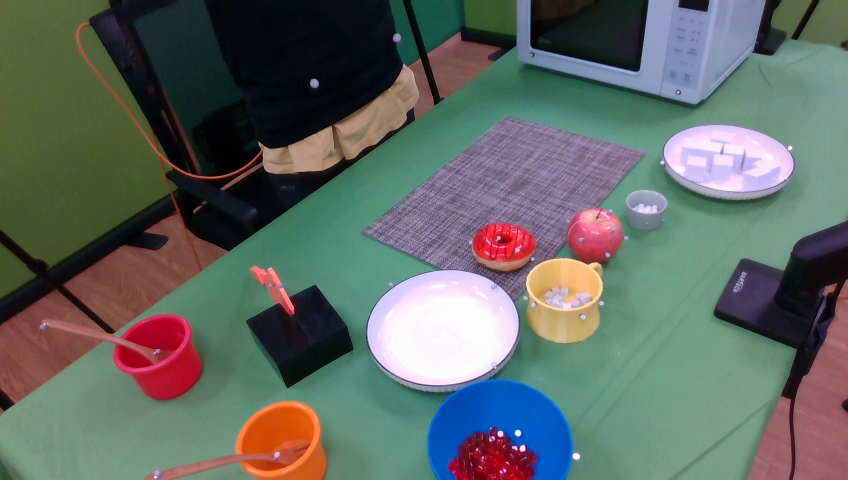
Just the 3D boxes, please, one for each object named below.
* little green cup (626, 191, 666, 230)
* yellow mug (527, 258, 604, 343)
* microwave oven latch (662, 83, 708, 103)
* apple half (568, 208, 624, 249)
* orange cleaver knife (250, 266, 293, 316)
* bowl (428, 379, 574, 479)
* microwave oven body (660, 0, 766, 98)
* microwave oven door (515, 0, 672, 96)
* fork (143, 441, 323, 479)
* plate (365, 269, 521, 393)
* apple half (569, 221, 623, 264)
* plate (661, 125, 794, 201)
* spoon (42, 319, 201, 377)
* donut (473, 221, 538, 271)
[{"bbox_3d":[0.352,-0.046,0.963,0.061,0.039,0.061,-4,40,4],"label":"little green cup"},{"bbox_3d":[0.201,0.073,0.825,0.131,0.064,0.099,-32,46,-27],"label":"yellow mug"},{"bbox_3d":[0.517,-0.296,1.203,0.078,0.029,0.030,28,52,35],"label":"microwave oven latch"},{"bbox_3d":[0.259,-0.014,0.914,0.080,0.075,0.053,0,36,15],"label":"apple half"},{"bbox_3d":[-0.221,0.070,0.873,0.012,0.077,0.210,-26,12,-21],"label":"orange cleaver knife"},{"bbox_3d":[0.082,0.233,0.644,0.151,0.077,0.150,-4,40,4],"label":"bowl"},{"bbox_3d":[0.472,-0.513,1.317,0.438,0.261,0.327,25,51,34],"label":"microwave oven body"},{"bbox_3d":[0.343,-0.454,1.259,0.353,0.245,0.039,26,51,33],"label":"microwave oven door"},{"bbox_3d":[-0.189,0.231,0.631,0.028,0.018,0.209,35,12,37],"label":"fork"},{"bbox_3d":[0.027,0.123,0.813,0.209,0.038,0.208,-4,40,4],"label":"plate"},{"bbox_3d":[0.251,0.010,0.884,0.081,0.081,0.032,3,37,12],"label":"apple half"},{"bbox_3d":[0.513,-0.128,1.035,0.207,0.039,0.206,-4,40,4],"label":"plate"},{"bbox_3d":[-0.385,0.135,0.779,0.195,0.021,0.041,29,37,-26],"label":"spoon"},{"bbox_3d":[0.124,0.008,0.923,0.099,0.048,0.098,-4,38,3],"label":"donut"}]
